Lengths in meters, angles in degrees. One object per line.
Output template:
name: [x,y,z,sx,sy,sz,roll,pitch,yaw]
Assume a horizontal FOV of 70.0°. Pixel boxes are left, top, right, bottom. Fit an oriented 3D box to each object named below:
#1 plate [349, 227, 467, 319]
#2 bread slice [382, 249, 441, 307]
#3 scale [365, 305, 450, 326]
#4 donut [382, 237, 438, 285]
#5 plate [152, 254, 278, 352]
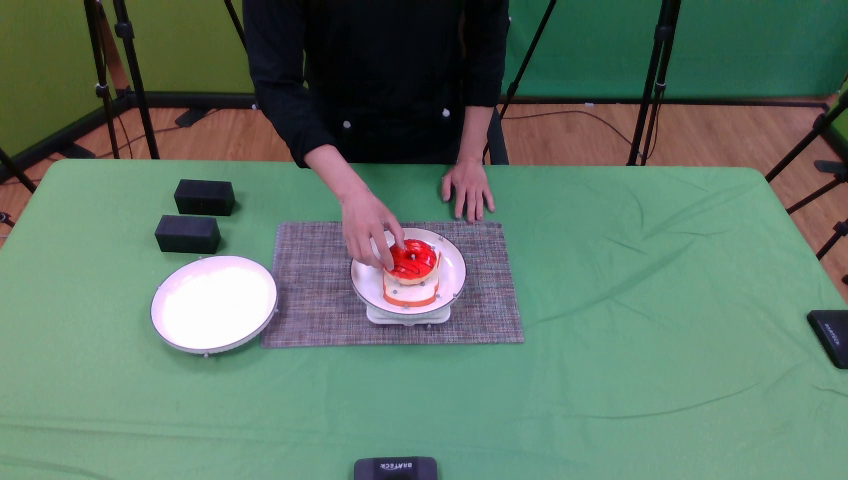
plate: [-0.029,0.061,1.077,0.209,0.038,0.208,2,46,-2]
bread slice: [-0.023,0.064,1.078,0.105,0.019,0.130,2,45,0]
scale: [-0.032,0.071,1.113,0.149,0.032,0.199,0,46,-4]
donut: [-0.025,0.036,1.063,0.099,0.048,0.098,0,44,0]
plate: [-0.357,0.111,1.052,0.208,0.039,0.206,2,46,-2]
